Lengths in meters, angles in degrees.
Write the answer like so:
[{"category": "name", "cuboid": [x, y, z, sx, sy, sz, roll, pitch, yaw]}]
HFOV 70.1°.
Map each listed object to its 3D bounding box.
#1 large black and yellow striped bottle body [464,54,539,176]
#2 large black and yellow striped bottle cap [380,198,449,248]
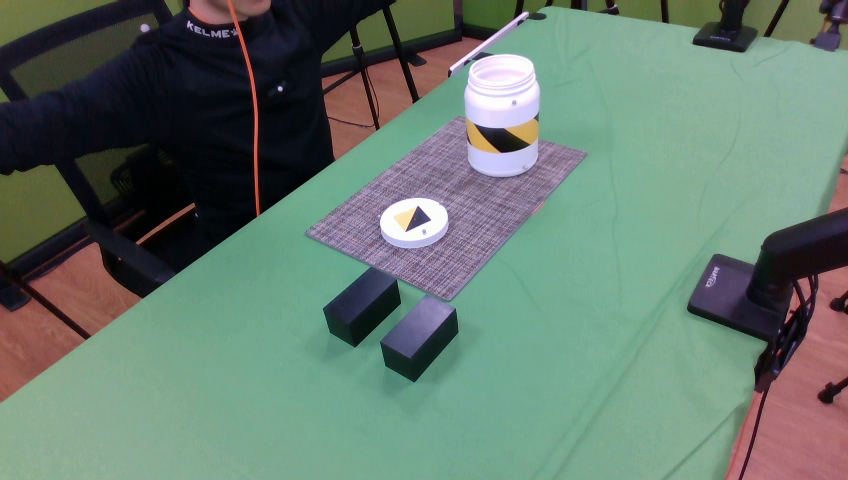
[{"category": "large black and yellow striped bottle body", "cuboid": [0.139, -0.221, 1.075, 0.131, 0.185, 0.130, -4, 41, 4]}, {"category": "large black and yellow striped bottle cap", "cuboid": [-0.016, -0.030, 1.004, 0.115, 0.019, 0.114, -5, 40, 4]}]
